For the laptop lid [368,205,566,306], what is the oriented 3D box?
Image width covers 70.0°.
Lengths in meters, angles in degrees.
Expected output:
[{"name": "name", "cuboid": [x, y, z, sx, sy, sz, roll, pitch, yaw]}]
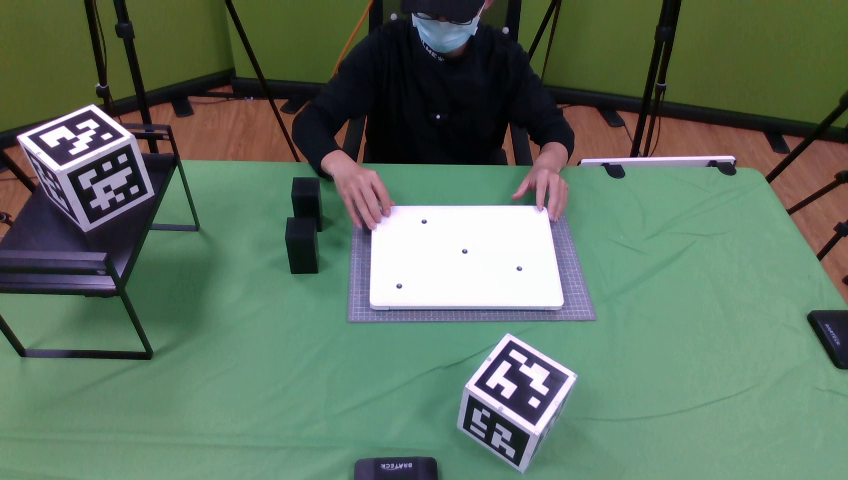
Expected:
[{"name": "laptop lid", "cuboid": [0.075, 0.023, 1.138, 0.357, 0.013, 0.240, 2, 52, -2]}]

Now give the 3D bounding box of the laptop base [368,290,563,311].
[{"name": "laptop base", "cuboid": [0.074, 0.044, 1.160, 0.354, 0.023, 0.234, 0, 43, -3]}]
